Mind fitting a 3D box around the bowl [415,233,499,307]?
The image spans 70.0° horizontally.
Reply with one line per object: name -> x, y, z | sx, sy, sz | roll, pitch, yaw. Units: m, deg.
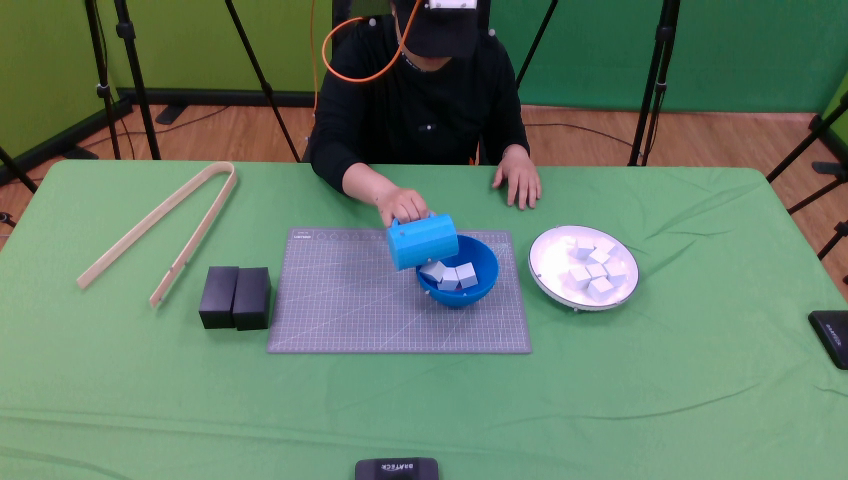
bowl -> 0.057, 0.067, 1.093 | 0.151, 0.077, 0.150 | 2, 46, -2

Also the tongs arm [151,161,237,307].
tongs arm -> -0.447, -0.026, 1.180 | 0.051, 0.027, 0.383 | 8, 46, 10

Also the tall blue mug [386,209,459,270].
tall blue mug -> -0.008, -0.012, 1.047 | 0.108, 0.078, 0.107 | -15, 76, -10

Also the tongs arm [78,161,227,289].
tongs arm -> -0.524, -0.043, 1.196 | 0.028, 0.028, 0.386 | 15, 47, 22

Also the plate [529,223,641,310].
plate -> 0.303, 0.053, 1.156 | 0.209, 0.038, 0.208 | 2, 46, -1
